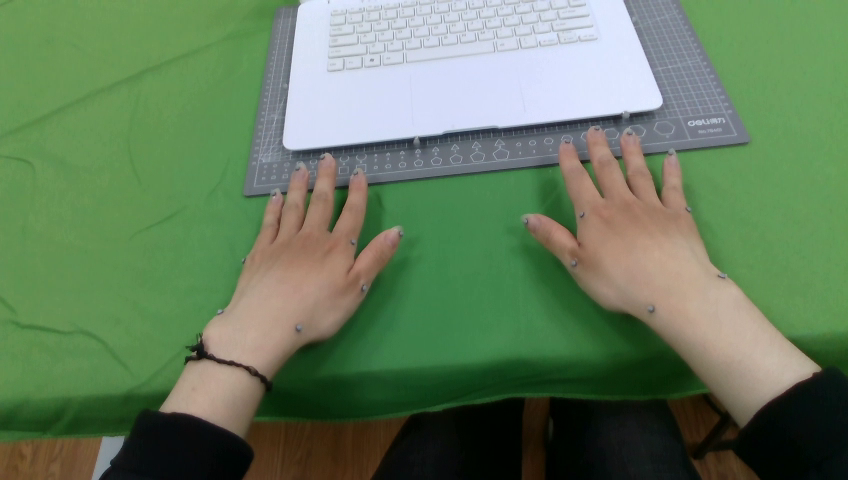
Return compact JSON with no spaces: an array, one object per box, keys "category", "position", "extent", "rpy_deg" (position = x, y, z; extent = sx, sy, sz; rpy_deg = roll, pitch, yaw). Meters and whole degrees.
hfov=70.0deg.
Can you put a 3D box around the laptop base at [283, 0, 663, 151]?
[{"category":"laptop base","position":[0.038,-0.191,0.624],"extent":[0.354,0.023,0.233],"rpy_deg":[-6,57,3]}]

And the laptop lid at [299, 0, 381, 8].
[{"category":"laptop lid","position":[0.019,-0.389,0.640],"extent":[0.356,0.243,0.013],"rpy_deg":[-7,26,3]}]
